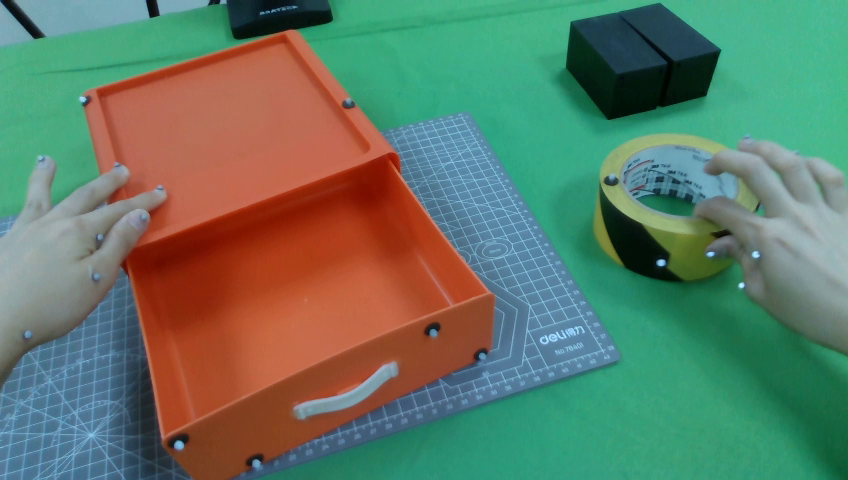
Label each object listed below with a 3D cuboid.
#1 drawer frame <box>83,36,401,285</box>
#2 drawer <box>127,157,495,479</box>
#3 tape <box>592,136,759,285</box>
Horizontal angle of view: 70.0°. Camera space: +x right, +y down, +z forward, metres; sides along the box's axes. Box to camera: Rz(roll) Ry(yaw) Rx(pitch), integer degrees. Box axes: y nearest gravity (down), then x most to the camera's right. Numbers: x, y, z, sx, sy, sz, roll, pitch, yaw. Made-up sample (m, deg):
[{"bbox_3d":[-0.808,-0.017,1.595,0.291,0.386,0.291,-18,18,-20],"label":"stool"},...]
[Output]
[{"bbox_3d":[-0.152,-0.064,0.499,0.202,0.083,0.211,-24,49,-16],"label":"drawer frame"},{"bbox_3d":[-0.087,0.026,0.413,0.195,0.074,0.209,-23,50,-15],"label":"drawer"},{"bbox_3d":[0.187,-0.026,0.461,0.117,0.053,0.115,-3,47,4],"label":"tape"}]
